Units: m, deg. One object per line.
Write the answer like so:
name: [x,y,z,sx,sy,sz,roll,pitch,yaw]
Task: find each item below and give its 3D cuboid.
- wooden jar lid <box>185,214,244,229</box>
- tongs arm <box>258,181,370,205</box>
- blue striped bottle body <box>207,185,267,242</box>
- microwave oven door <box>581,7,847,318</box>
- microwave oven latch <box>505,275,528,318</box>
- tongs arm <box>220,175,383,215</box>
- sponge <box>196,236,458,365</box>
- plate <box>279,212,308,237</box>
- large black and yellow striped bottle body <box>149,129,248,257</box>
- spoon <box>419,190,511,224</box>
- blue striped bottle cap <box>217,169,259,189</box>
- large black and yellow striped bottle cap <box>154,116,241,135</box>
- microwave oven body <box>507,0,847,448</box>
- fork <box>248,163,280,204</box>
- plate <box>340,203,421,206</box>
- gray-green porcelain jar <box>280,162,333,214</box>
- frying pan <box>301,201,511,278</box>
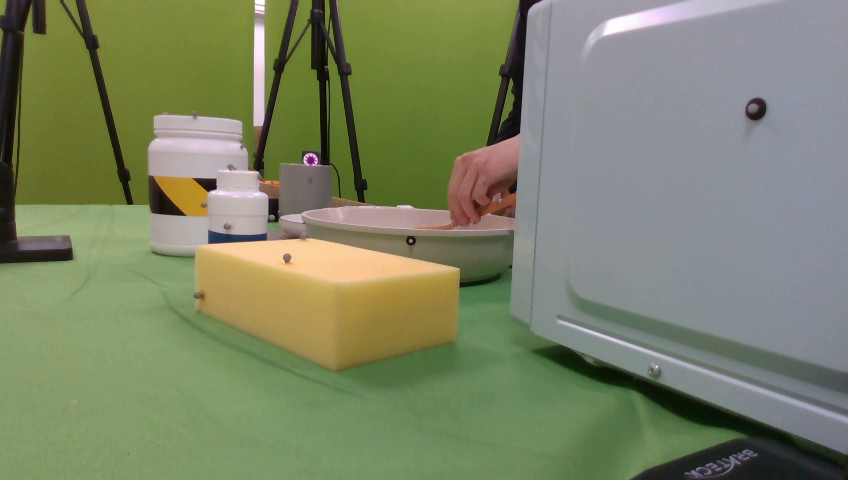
wooden jar lid: [-0.404,-0.037,1.169,0.108,0.020,0.108,3,7,0]
tongs arm: [-0.241,-0.095,1.373,0.387,0.026,0.050,9,0,-37]
blue striped bottle body: [-0.204,-0.016,0.663,0.063,0.120,0.063,2,7,0]
microwave oven door: [0.295,-0.067,0.569,0.358,0.243,0.039,-3,8,-31]
microwave oven latch: [0.100,0.042,0.472,0.079,0.029,0.030,-2,8,-30]
tongs arm: [-0.285,-0.105,1.445,0.389,0.027,0.028,10,-3,-23]
sponge: [-0.087,0.039,0.500,0.206,0.061,0.119,8,9,44]
plate: [-0.139,-0.022,1.021,0.209,0.038,0.209,2,8,0]
large black and yellow striped bottle body: [-0.315,-0.075,0.854,0.131,0.184,0.130,2,7,0]
spoon: [0.052,-0.032,0.820,0.193,0.041,0.022,-26,4,34]
blue striped bottle cap: [-0.202,-0.067,0.656,0.044,0.020,0.044,0,10,0]
large black and yellow striped bottle cap: [-0.314,-0.158,0.843,0.115,0.019,0.115,3,7,0]
microwave oven body: [0.331,-0.042,0.425,0.444,0.260,0.324,-2,8,-31]
fork: [-0.396,-0.143,1.486,0.028,0.018,0.208,20,-26,45]
plate: [-0.089,-0.053,1.309,0.208,0.039,0.207,2,8,0]
gray-green porcelain jar: [-0.238,-0.092,1.221,0.106,0.126,0.106,2,7,0]
frying pan: [0.050,-0.028,0.864,0.305,0.102,0.490,8,17,35]
